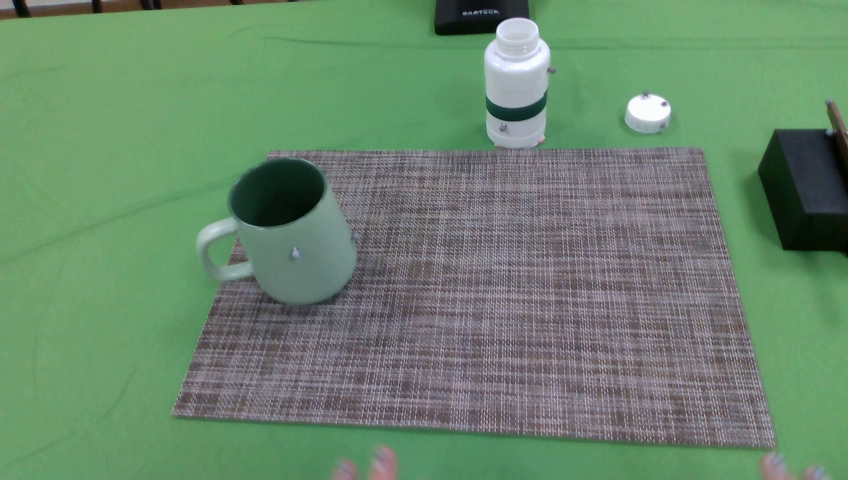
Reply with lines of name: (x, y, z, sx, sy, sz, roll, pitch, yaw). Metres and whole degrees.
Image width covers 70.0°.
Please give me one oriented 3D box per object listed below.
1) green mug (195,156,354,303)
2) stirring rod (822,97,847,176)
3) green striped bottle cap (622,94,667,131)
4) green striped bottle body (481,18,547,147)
green mug: (-0.127, -0.001, 0.511, 0.125, 0.106, 0.091, -20, 53, -9)
stirring rod: (0.351, -0.057, 0.496, 0.006, 0.014, 0.174, 0, 52, 14)
green striped bottle cap: (0.231, -0.133, 0.633, 0.044, 0.020, 0.044, -2, 48, 3)
green striped bottle body: (0.089, -0.157, 0.603, 0.063, 0.120, 0.062, -4, 51, 5)
